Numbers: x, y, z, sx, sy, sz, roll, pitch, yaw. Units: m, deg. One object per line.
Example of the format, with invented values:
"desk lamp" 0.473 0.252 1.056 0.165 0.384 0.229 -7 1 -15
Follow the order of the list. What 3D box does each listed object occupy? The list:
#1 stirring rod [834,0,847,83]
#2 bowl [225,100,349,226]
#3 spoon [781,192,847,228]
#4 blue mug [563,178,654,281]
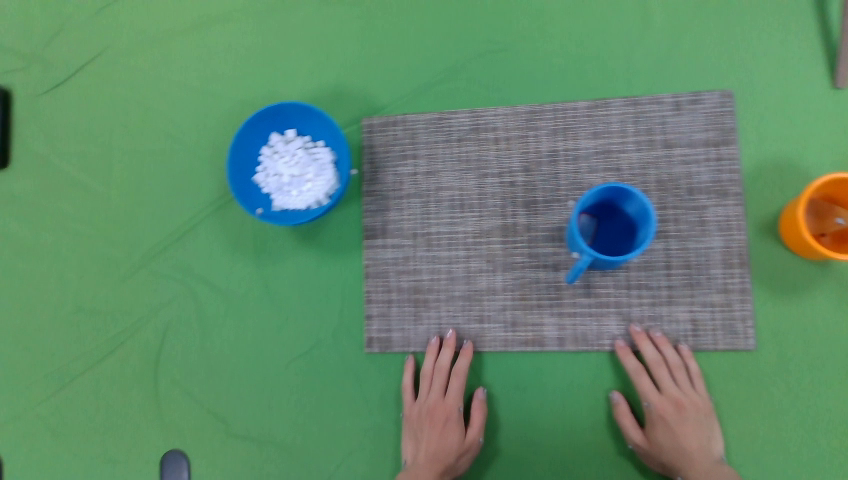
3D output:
"stirring rod" 0.474 -0.266 0.675 0.014 0.006 0.176 -1 102 6
"bowl" -0.157 -0.087 0.747 0.151 0.077 0.151 -1 83 9
"spoon" 0.462 -0.024 0.607 0.022 0.192 0.041 22 85 -33
"blue mug" 0.189 -0.002 0.665 0.082 0.106 0.116 36 90 12
